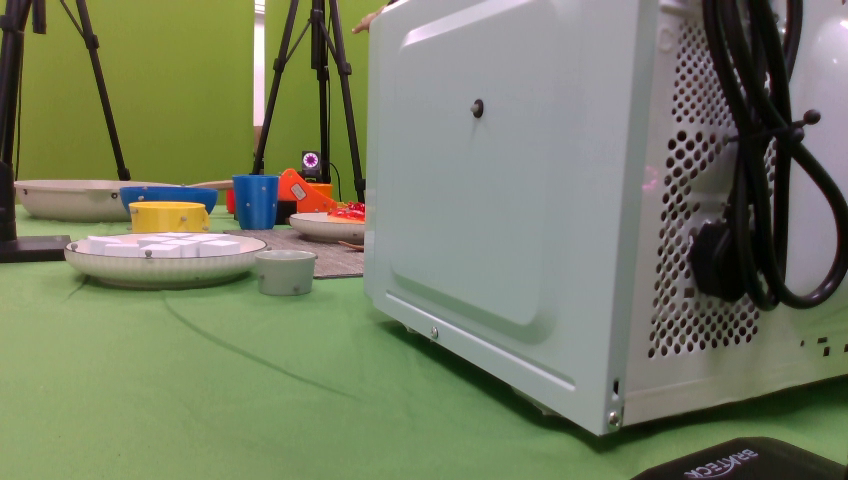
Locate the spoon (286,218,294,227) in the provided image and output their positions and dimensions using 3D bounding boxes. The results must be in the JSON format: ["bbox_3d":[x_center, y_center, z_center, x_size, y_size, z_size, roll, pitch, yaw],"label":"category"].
[{"bbox_3d":[-0.180,-0.036,1.209,0.195,0.021,0.041,-3,-11,-31],"label":"spoon"}]

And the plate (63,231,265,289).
[{"bbox_3d":[-0.288,0.021,0.687,0.208,0.039,0.207,2,8,0],"label":"plate"}]

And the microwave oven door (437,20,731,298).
[{"bbox_3d":[0.181,-0.076,0.618,0.358,0.243,0.039,-2,9,-28],"label":"microwave oven door"}]

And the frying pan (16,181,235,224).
[{"bbox_3d":[-0.554,-0.097,1.266,0.490,0.102,0.305,-10,13,-24],"label":"frying pan"}]

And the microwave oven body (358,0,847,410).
[{"bbox_3d":[0.210,-0.051,0.471,0.444,0.260,0.324,-1,7,-28],"label":"microwave oven body"}]

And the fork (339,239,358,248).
[{"bbox_3d":[-0.027,0.003,0.925,0.208,0.018,0.028,-2,-2,-19],"label":"fork"}]

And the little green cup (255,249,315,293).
[{"bbox_3d":[-0.144,0.031,0.627,0.061,0.038,0.061,2,6,0],"label":"little green cup"}]

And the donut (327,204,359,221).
[{"bbox_3d":[-0.120,-0.037,1.056,0.099,0.048,0.099,5,6,0],"label":"donut"}]

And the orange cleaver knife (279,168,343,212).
[{"bbox_3d":[-0.236,-0.084,1.332,0.212,0.077,0.012,31,-10,-31],"label":"orange cleaver knife"}]

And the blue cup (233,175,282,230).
[{"bbox_3d":[-0.314,-0.071,1.141,0.093,0.100,0.092,0,7,0],"label":"blue cup"}]

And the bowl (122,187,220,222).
[{"bbox_3d":[-0.421,-0.046,1.012,0.151,0.077,0.151,3,7,0],"label":"bowl"}]

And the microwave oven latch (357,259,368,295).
[{"bbox_3d":[-0.019,0.031,0.529,0.079,0.029,0.030,-1,7,-26],"label":"microwave oven latch"}]

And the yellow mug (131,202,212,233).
[{"bbox_3d":[-0.356,-0.020,0.878,0.099,0.064,0.131,5,7,21],"label":"yellow mug"}]

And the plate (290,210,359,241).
[{"bbox_3d":[-0.127,-0.025,1.051,0.209,0.038,0.209,2,7,0],"label":"plate"}]
